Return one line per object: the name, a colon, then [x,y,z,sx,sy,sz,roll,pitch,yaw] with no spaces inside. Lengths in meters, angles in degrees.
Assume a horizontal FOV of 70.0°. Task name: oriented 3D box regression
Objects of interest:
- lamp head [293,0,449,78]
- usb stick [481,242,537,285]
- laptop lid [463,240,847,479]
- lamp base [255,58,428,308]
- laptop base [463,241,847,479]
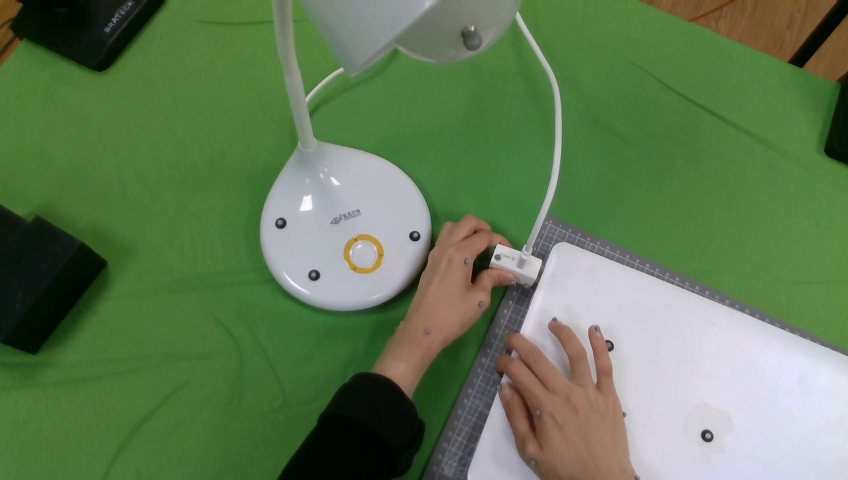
lamp head: [-0.021,-0.137,0.213,0.112,0.112,0.123,-43,100,-17]
usb stick: [0.085,0.024,0.556,0.059,0.027,0.021,22,66,0]
laptop lid: [0.234,0.163,0.514,0.356,0.013,0.240,24,73,6]
lamp base: [-0.081,-0.050,0.501,0.160,0.181,0.178,-34,72,-15]
laptop base: [0.235,0.165,0.525,0.354,0.023,0.234,22,73,5]
